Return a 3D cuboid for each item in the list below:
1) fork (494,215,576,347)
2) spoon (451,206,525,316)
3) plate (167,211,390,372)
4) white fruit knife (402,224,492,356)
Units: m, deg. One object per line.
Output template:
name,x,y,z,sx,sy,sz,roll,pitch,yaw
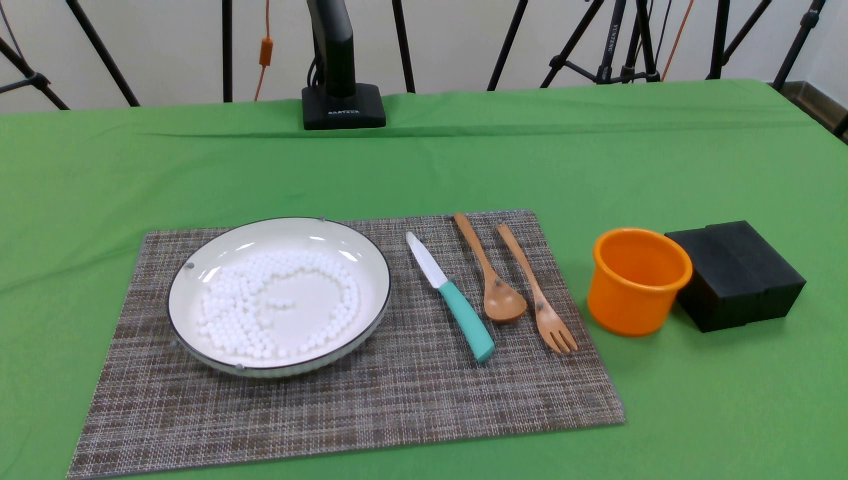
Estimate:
fork,0.109,0.036,0.635,0.028,0.019,0.205,-13,44,-6
spoon,0.061,0.016,0.653,0.041,0.022,0.191,-19,43,-2
plate,-0.137,0.048,0.592,0.209,0.038,0.207,2,40,-1
white fruit knife,0.019,0.042,0.624,0.027,0.016,0.205,-3,38,-27
